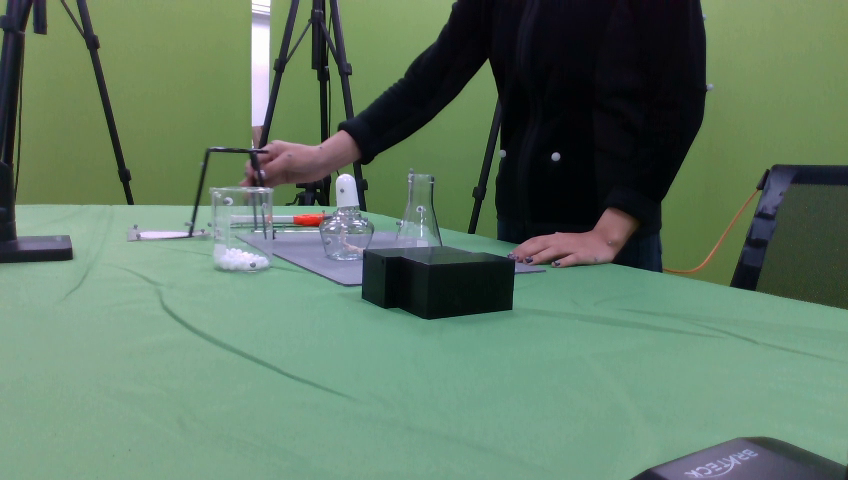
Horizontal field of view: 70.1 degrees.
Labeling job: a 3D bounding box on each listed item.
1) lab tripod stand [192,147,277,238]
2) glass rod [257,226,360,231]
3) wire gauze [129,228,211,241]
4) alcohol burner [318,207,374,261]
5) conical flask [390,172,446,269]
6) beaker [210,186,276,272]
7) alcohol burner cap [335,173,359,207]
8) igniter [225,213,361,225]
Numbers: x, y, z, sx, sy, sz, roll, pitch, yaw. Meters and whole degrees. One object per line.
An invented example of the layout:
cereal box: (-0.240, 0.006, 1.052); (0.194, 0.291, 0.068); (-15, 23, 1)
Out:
lab tripod stand: (-0.271, -0.073, 0.913); (0.148, 0.131, 0.148); (3, 7, 0)
glass rod: (-0.216, -0.022, 1.152); (0.201, 0.008, 0.008); (-2, 8, -28)
wire gauze: (-0.419, -0.010, 0.999); (0.122, 0.011, 0.124); (0, 6, -25)
alcohol burner: (-0.107, -0.032, 0.833); (0.078, 0.119, 0.078); (1, 6, 0)
conical flask: (-0.006, -0.027, 0.790); (0.075, 0.122, 0.075); (2, 7, 0)
beaker: (-0.224, -0.014, 0.738); (0.084, 0.100, 0.074); (4, 7, 16)
alcohol burner cap: (-0.108, -0.068, 0.829); (0.034, 0.048, 0.034); (-7, 4, 1)
igniter: (-0.257, -0.042, 1.221); (0.278, 0.025, 0.057); (-2, -2, -32)
